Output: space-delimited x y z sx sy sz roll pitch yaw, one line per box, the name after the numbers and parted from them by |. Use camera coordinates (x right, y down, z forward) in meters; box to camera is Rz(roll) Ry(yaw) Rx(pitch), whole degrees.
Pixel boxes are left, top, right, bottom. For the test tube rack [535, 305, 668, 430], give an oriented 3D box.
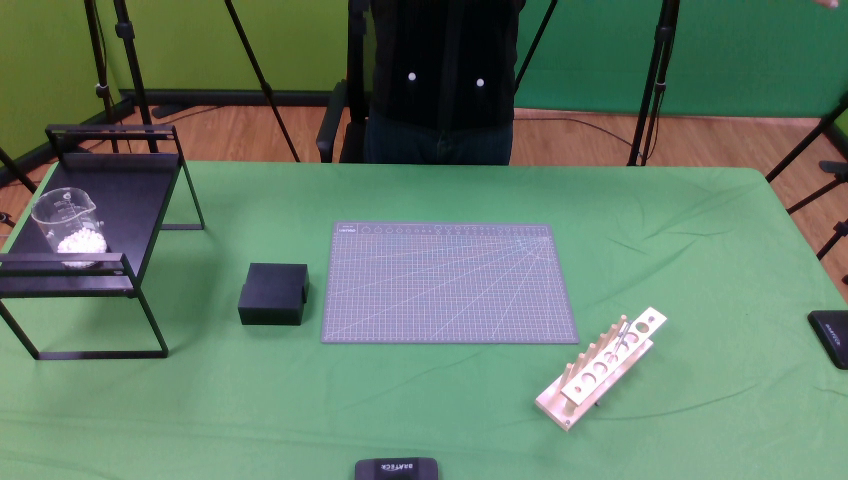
0.290 0.193 0.984 0.242 0.085 0.066 -32 57 -30 | test tube rack

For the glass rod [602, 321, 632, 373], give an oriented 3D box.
0.286 0.173 0.913 0.008 0.201 0.008 -1 53 1 | glass rod

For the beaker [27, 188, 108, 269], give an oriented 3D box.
-0.502 -0.014 0.869 0.084 0.101 0.073 -3 47 -7 | beaker
